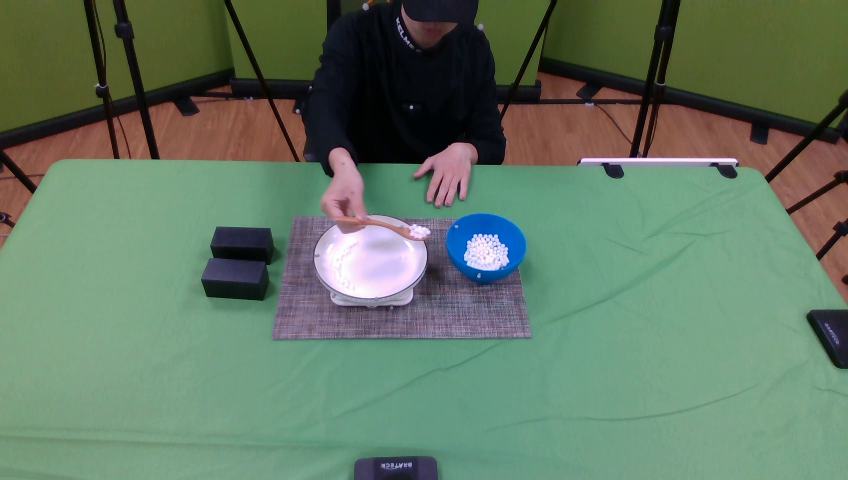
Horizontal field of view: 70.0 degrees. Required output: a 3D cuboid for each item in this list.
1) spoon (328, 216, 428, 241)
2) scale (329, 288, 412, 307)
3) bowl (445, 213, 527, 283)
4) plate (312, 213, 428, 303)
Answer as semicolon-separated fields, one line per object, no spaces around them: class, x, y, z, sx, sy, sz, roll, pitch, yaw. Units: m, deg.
spoon;-0.077;-0.025;1.046;0.194;0.022;0.041;13;29;-34
scale;-0.098;0.042;1.139;0.149;0.032;0.199;1;46;-4
bowl;0.111;0.028;1.137;0.151;0.077;0.150;2;46;-2
plate;-0.097;0.036;1.100;0.209;0.038;0.208;2;46;-2
